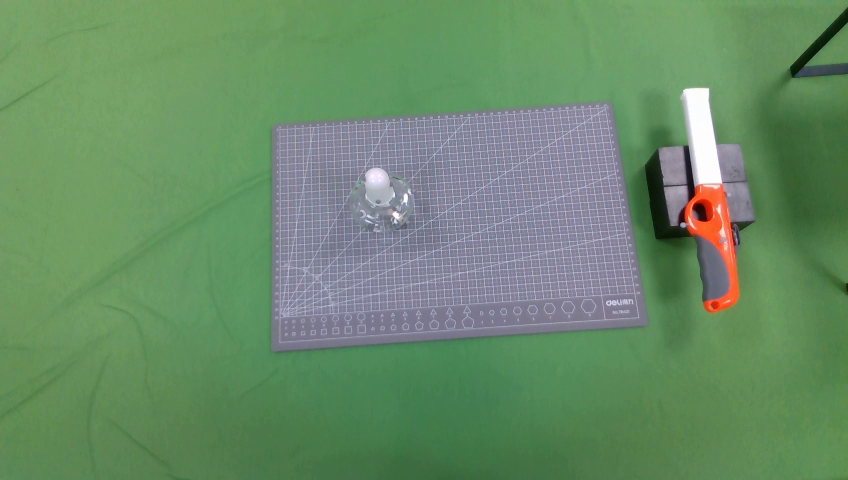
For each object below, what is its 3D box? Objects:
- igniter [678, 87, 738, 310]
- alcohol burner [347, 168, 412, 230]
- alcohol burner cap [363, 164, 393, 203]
[{"bbox_3d":[0.327,-0.054,0.705,0.057,0.025,0.275,0,73,4],"label":"igniter"},{"bbox_3d":[-0.053,-0.055,0.711,0.078,0.119,0.077,0,73,-1],"label":"alcohol burner"},{"bbox_3d":[-0.053,-0.065,0.677,0.034,0.048,0.033,-1,67,3],"label":"alcohol burner cap"}]
